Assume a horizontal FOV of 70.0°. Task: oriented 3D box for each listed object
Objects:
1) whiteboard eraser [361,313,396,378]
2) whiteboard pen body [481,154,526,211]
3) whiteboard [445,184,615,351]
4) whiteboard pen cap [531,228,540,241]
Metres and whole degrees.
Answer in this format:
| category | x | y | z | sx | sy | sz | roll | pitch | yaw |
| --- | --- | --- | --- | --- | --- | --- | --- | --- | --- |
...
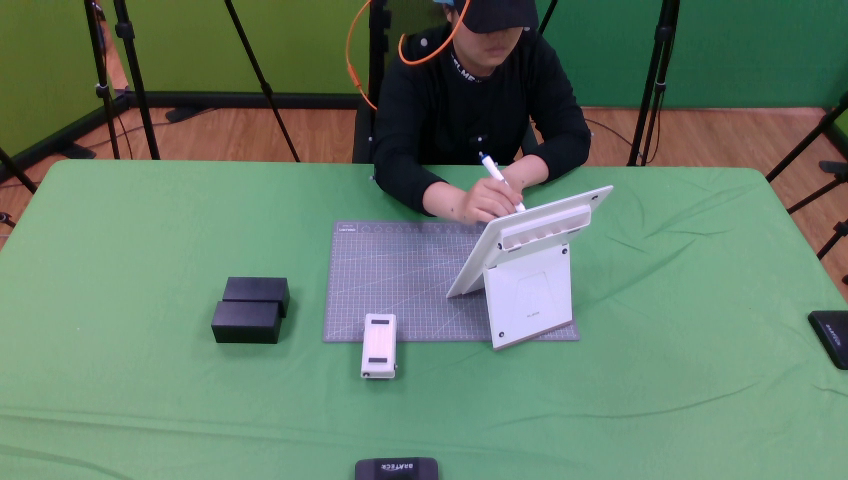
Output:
| category | x | y | z | sx | sy | sz | roll | pitch | yaw |
| --- | --- | --- | --- | --- | --- | --- | --- | --- | --- |
| whiteboard eraser | -0.075 | 0.176 | 1.006 | 0.055 | 0.042 | 0.112 | 3 | 50 | -4 |
| whiteboard pen body | 0.141 | -0.086 | 1.028 | 0.017 | 0.017 | 0.140 | -32 | 84 | -29 |
| whiteboard | 0.187 | 0.065 | 0.989 | 0.217 | 0.306 | 0.143 | -15 | 68 | -18 |
| whiteboard pen cap | 0.225 | -0.011 | 1.221 | 0.018 | 0.018 | 0.033 | 12 | 29 | 8 |
